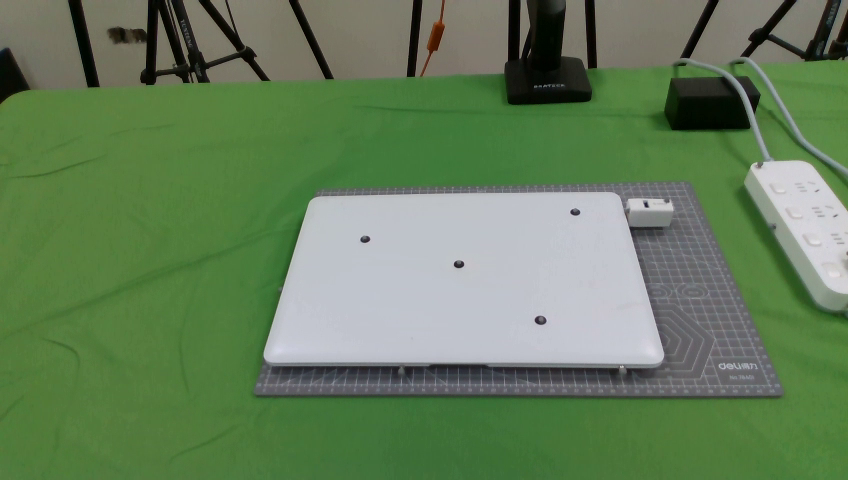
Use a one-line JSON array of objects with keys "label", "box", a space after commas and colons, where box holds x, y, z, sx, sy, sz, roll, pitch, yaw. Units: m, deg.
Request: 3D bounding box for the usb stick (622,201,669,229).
[{"label": "usb stick", "box": [0.230, -0.027, 0.653, 0.059, 0.027, 0.021, -2, 41, 7]}]

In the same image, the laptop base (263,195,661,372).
[{"label": "laptop base", "box": [0.035, 0.038, 0.615, 0.354, 0.023, 0.233, -1, 45, 4]}]

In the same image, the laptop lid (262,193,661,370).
[{"label": "laptop lid", "box": [0.034, 0.030, 0.606, 0.356, 0.013, 0.239, 0, 44, 5]}]

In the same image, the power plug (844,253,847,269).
[{"label": "power plug", "box": [0.428, 0.024, 0.556, 0.072, 0.053, 0.035, 7, 44, 10]}]

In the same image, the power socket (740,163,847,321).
[{"label": "power socket", "box": [0.400, -0.010, 0.627, 0.072, 0.033, 0.224, -1, 41, 2]}]
